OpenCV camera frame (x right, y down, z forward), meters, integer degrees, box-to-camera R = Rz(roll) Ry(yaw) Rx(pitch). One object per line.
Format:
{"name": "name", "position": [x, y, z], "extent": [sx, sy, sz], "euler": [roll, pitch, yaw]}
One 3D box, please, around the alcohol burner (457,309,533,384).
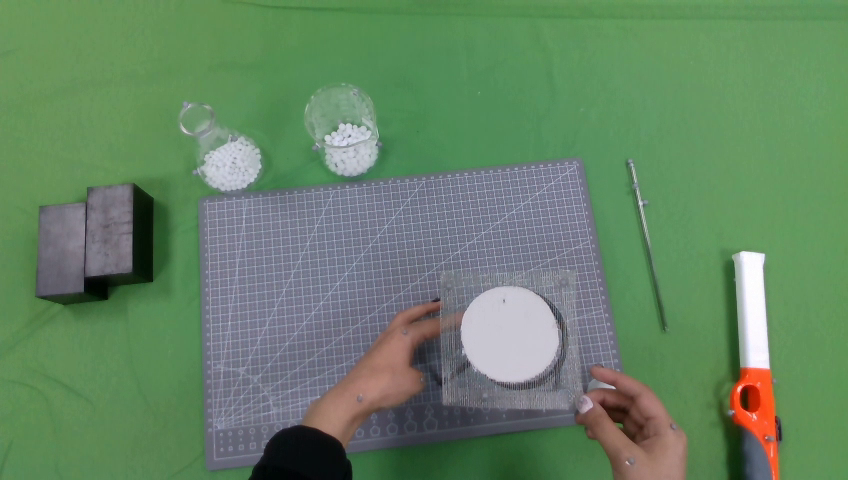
{"name": "alcohol burner", "position": [0.073, 0.106, 0.609], "extent": [0.078, 0.119, 0.077], "euler": [0, 76, 2]}

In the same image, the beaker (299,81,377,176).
{"name": "beaker", "position": [-0.088, -0.118, 0.672], "extent": [0.084, 0.100, 0.074], "euler": [29, 78, 6]}

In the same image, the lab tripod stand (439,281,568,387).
{"name": "lab tripod stand", "position": [0.080, 0.104, 0.599], "extent": [0.148, 0.132, 0.147], "euler": [0, 78, 0]}

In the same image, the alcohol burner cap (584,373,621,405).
{"name": "alcohol burner cap", "position": [0.189, 0.156, 0.634], "extent": [0.034, 0.048, 0.033], "euler": [0, 75, 0]}

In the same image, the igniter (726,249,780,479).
{"name": "igniter", "position": [0.350, 0.145, 0.650], "extent": [0.057, 0.025, 0.275], "euler": [7, 76, -10]}

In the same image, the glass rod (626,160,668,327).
{"name": "glass rod", "position": [0.254, 0.001, 0.693], "extent": [0.008, 0.008, 0.198], "euler": [-7, 76, -3]}

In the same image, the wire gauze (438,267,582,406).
{"name": "wire gauze", "position": [0.075, 0.084, 0.534], "extent": [0.125, 0.011, 0.121], "euler": [1, 77, 1]}

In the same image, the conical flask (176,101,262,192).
{"name": "conical flask", "position": [-0.226, -0.105, 0.655], "extent": [0.075, 0.122, 0.075], "euler": [0, 76, -1]}
